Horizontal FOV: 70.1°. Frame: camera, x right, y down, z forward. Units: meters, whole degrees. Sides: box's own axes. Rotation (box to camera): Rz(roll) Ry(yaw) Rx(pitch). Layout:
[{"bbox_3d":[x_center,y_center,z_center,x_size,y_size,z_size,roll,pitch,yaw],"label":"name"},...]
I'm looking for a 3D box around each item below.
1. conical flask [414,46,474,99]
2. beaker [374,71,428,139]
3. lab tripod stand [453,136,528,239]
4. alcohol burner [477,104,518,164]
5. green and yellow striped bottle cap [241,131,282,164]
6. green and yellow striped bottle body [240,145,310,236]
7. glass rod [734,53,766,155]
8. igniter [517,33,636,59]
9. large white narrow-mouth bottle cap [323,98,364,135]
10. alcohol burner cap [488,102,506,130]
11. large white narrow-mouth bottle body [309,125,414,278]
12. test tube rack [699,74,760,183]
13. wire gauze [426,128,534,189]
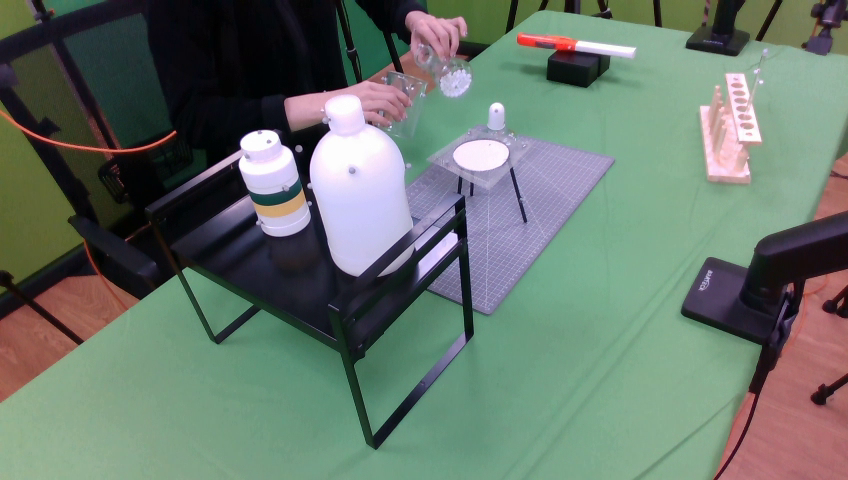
[{"bbox_3d":[0.031,-0.307,1.083,0.074,0.075,0.123,27,8,33],"label":"conical flask"},{"bbox_3d":[-0.041,-0.230,1.037,0.074,0.100,0.084,18,10,7],"label":"beaker"},{"bbox_3d":[0.094,-0.086,0.974,0.148,0.132,0.147,-4,43,4],"label":"lab tripod stand"},{"bbox_3d":[0.135,-0.200,1.117,0.078,0.119,0.077,-4,43,4],"label":"alcohol burner"},{"bbox_3d":[-0.187,-0.107,0.695,0.045,0.020,0.045,-3,39,3],"label":"green and yellow striped bottle cap"},{"bbox_3d":[-0.181,-0.069,0.729,0.063,0.120,0.063,-4,40,4],"label":"green and yellow striped bottle body"},{"bbox_3d":[0.540,-0.220,1.007,0.008,0.201,0.008,-5,45,6],"label":"glass rod"},{"bbox_3d":[0.336,-0.441,1.369,0.275,0.025,0.057,16,41,23],"label":"igniter"},{"bbox_3d":[-0.077,-0.120,0.585,0.038,0.024,0.037,-3,42,4],"label":"large white narrow-mouth bottle cap"},{"bbox_3d":[0.133,-0.227,1.092,0.034,0.048,0.033,-1,47,2],"label":"alcohol burner cap"},{"bbox_3d":[-0.068,-0.057,0.644,0.102,0.195,0.101,-4,42,4],"label":"large white narrow-mouth bottle body"},{"bbox_3d":[0.547,-0.208,1.095,0.066,0.085,0.242,6,42,16],"label":"test tube rack"},{"bbox_3d":[0.086,-0.131,0.924,0.124,0.011,0.122,26,52,33],"label":"wire gauze"}]
